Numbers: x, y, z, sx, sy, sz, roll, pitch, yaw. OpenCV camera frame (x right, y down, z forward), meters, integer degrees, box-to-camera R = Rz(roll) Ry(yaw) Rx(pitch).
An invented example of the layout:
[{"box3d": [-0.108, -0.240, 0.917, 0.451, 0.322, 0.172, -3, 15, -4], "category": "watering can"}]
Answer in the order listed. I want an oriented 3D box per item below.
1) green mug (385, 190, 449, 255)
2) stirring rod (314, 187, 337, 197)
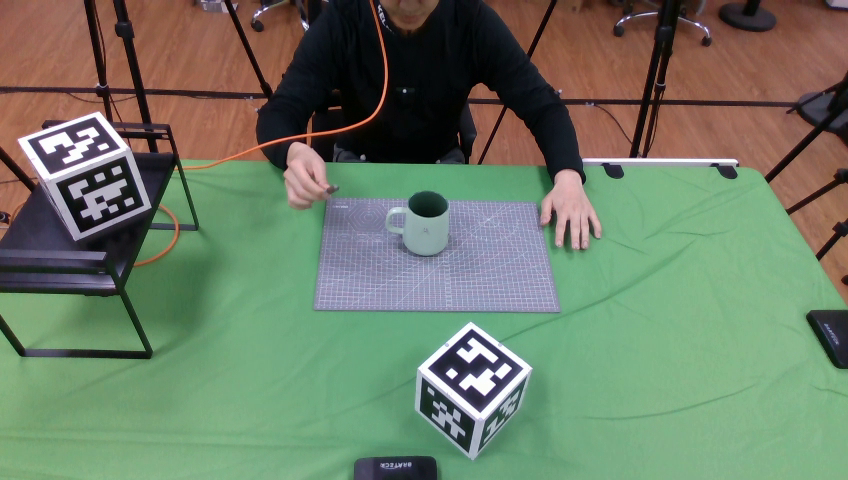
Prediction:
[{"box3d": [-0.013, -0.033, 1.166, 0.125, 0.105, 0.092, 2, 46, -2], "category": "green mug"}, {"box3d": [-0.181, -0.088, 1.108, 0.014, 0.175, 0.006, 16, 86, -19], "category": "stirring rod"}]
